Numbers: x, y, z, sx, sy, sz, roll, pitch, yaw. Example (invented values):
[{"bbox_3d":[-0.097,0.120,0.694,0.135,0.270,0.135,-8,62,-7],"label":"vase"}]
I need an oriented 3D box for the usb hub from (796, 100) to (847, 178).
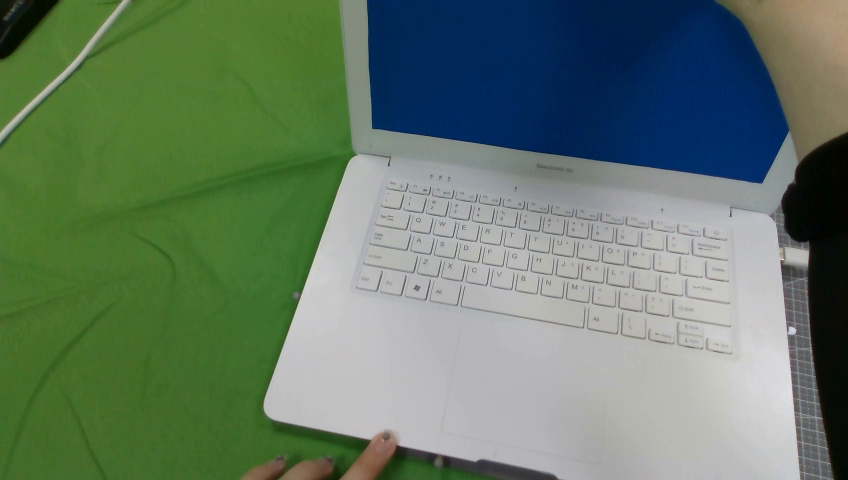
[{"bbox_3d":[0.346,-0.112,0.548,0.049,0.025,0.124,-3,58,-1],"label":"usb hub"}]

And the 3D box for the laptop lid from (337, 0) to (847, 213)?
[{"bbox_3d":[0.109,-0.131,0.429,0.356,0.244,0.013,8,45,8],"label":"laptop lid"}]

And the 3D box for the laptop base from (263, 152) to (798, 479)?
[{"bbox_3d":[0.082,0.052,0.453,0.354,0.023,0.234,9,62,7],"label":"laptop base"}]
